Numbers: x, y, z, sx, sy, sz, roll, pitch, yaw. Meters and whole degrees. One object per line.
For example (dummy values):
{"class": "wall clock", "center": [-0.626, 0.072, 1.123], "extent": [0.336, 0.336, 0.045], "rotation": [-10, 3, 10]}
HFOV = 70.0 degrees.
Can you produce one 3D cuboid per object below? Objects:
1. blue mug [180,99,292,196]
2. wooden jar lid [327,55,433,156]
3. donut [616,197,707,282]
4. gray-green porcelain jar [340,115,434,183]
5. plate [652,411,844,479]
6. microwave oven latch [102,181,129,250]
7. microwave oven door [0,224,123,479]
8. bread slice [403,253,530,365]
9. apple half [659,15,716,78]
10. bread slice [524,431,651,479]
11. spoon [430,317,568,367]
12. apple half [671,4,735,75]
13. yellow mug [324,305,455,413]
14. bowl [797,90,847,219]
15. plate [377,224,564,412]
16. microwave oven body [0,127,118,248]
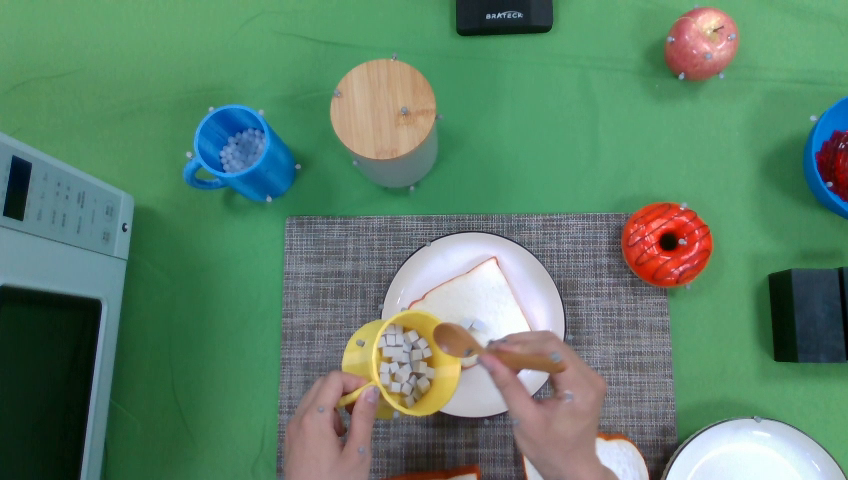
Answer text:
{"class": "blue mug", "center": [-0.220, -0.096, 0.696], "extent": [0.116, 0.106, 0.082], "rotation": [-26, 80, -1]}
{"class": "wooden jar lid", "center": [-0.045, -0.136, 0.622], "extent": [0.108, 0.021, 0.108], "rotation": [-1, 79, 3]}
{"class": "donut", "center": [0.268, -0.001, 0.689], "extent": [0.099, 0.048, 0.098], "rotation": [0, 82, 3]}
{"class": "gray-green porcelain jar", "center": [-0.041, -0.125, 0.683], "extent": [0.106, 0.127, 0.105], "rotation": [0, 81, 3]}
{"class": "plate", "center": [0.343, 0.288, 0.648], "extent": [0.209, 0.038, 0.208], "rotation": [0, 81, 2]}
{"class": "microwave oven latch", "center": [-0.366, -0.029, 0.708], "extent": [0.030, 0.029, 0.079], "rotation": [4, 82, 3]}
{"class": "microwave oven door", "center": [-0.386, 0.171, 0.575], "extent": [0.039, 0.244, 0.354], "rotation": [3, 81, 3]}
{"class": "bread slice", "center": [0.042, 0.088, 0.689], "extent": [0.131, 0.019, 0.104], "rotation": [-27, 81, -2]}
{"class": "apple half", "center": [0.297, -0.216, 0.708], "extent": [0.033, 0.081, 0.081], "rotation": [-33, 81, -8]}
{"class": "bread slice", "center": [0.177, 0.258, 0.633], "extent": [0.135, 0.018, 0.106], "rotation": [-5, 77, -18]}
{"class": "spoon", "center": [0.054, 0.088, 0.498], "extent": [0.021, 0.193, 0.042], "rotation": [-33, 102, -20]}
{"class": "apple half", "center": [0.329, -0.238, 0.711], "extent": [0.053, 0.075, 0.080], "rotation": [-32, 77, -8]}
{"class": "yellow mug", "center": [-0.039, 0.123, 0.586], "extent": [0.131, 0.064, 0.100], "rotation": [-25, 91, -36]}
{"class": "bowl", "center": [0.484, -0.087, 0.679], "extent": [0.151, 0.077, 0.151], "rotation": [0, 81, 3]}
{"class": "plate", "center": [0.052, 0.087, 0.688], "extent": [0.207, 0.039, 0.207], "rotation": [0, 81, 3]}
{"class": "microwave oven body", "center": [-0.529, 0.122, 0.594], "extent": [0.326, 0.261, 0.440], "rotation": [3, 82, 2]}
